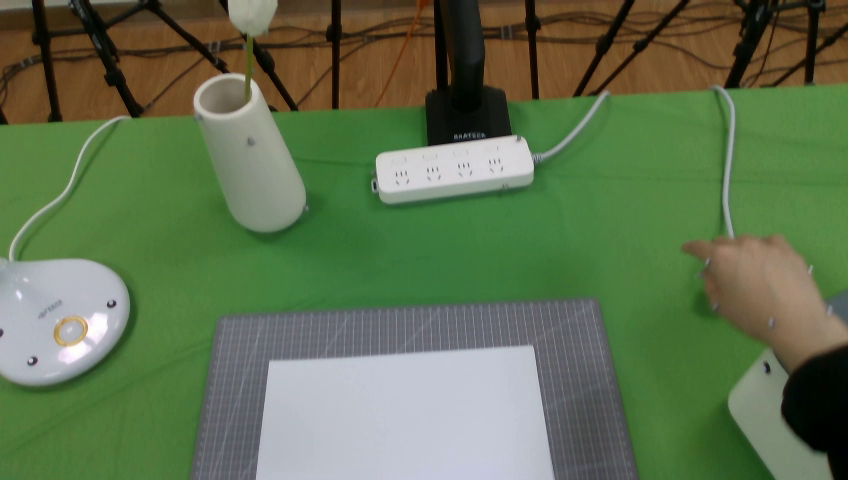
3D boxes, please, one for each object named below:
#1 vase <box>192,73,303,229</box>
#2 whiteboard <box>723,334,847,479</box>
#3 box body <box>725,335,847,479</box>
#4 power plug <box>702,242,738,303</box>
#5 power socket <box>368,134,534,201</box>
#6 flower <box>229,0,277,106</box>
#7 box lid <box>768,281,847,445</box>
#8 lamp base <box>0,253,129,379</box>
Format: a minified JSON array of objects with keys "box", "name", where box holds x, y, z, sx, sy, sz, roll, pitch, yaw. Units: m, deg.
[{"box":[-0.209,-0.100,0.723,0.098,0.202,0.097,-1,56,2],"name":"vase"},{"box":[0.480,0.204,0.538,0.217,0.145,0.302,-20,58,-15],"name":"whiteboard"},{"box":[0.482,0.208,0.521,0.254,0.162,0.360,-21,58,-12],"name":"box body"},{"box":[0.352,0.041,0.711,0.035,0.053,0.072,35,43,26],"name":"power plug"},{"box":[0.037,-0.098,0.815,0.227,0.033,0.071,-7,57,-4],"name":"power socket"},{"box":[-0.191,-0.139,0.650,0.038,0.363,0.044,44,58,7],"name":"flower"},{"box":[0.478,0.165,0.460,0.263,0.015,0.367,-21,59,-11],"name":"box lid"},{"box":[-0.441,0.038,0.649,0.178,0.182,0.160,25,60,21],"name":"lamp base"}]
